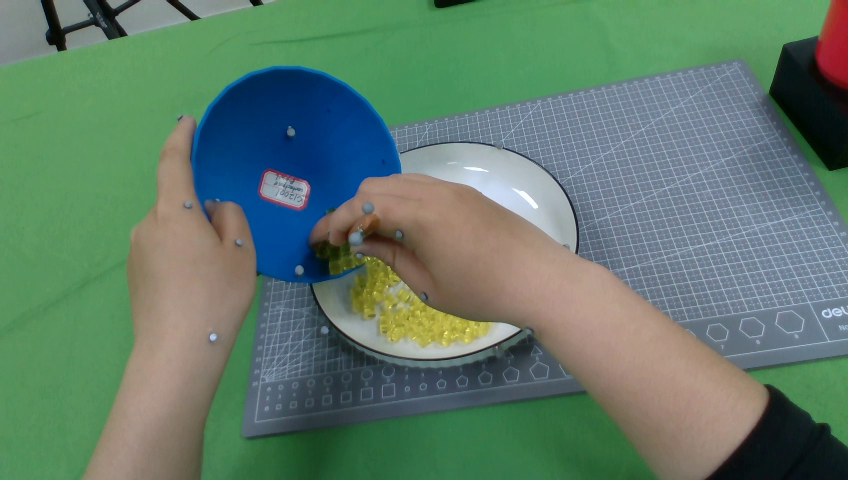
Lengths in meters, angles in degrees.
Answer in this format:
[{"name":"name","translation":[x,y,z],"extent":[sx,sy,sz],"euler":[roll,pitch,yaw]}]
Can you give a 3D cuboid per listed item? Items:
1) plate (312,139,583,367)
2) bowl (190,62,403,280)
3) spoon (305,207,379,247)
[{"name":"plate","translation":[0.017,0.007,0.471],"extent":[0.207,0.039,0.205],"euler":[-7,52,9]},{"name":"bowl","translation":[-0.099,-0.044,0.445],"extent":[0.151,0.152,0.076],"euler":[-53,22,-25]},{"name":"spoon","translation":[-0.047,-0.008,0.366],"extent":[0.041,0.022,0.193],"euler":[-37,12,-13]}]
